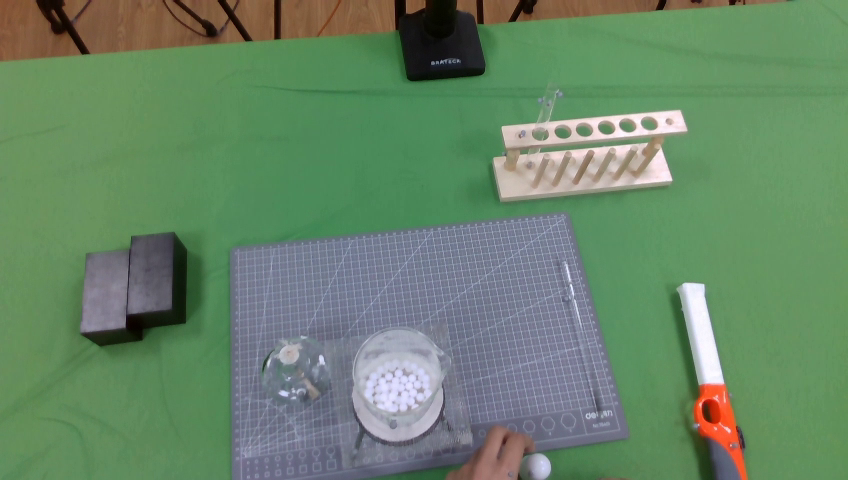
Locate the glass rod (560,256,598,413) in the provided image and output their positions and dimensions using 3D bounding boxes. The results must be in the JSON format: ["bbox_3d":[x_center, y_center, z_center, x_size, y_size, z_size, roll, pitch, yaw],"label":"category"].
[{"bbox_3d":[0.191,0.113,0.750,0.008,0.008,0.198,-5,69,-6],"label":"glass rod"}]

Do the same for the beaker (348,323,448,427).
[{"bbox_3d":[-0.022,0.123,0.538,0.084,0.101,0.073,-11,65,-8],"label":"beaker"}]

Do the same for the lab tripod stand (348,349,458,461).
[{"bbox_3d":[-0.031,0.172,0.641,0.148,0.132,0.147,1,65,-1],"label":"lab tripod stand"}]

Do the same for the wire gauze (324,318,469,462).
[{"bbox_3d":[-0.029,0.141,0.583,0.125,0.011,0.120,-10,64,-5],"label":"wire gauze"}]

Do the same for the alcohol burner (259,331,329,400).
[{"bbox_3d":[-0.144,0.133,0.664,0.078,0.120,0.077,1,63,-2],"label":"alcohol burner"}]

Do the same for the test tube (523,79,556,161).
[{"bbox_3d":[0.145,-0.148,0.773,0.017,0.151,0.017,1,62,-1],"label":"test tube"}]

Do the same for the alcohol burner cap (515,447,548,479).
[{"bbox_3d":[0.121,0.246,0.671,0.034,0.048,0.033,1,64,-2],"label":"alcohol burner cap"}]

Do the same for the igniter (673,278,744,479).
[{"bbox_3d":[0.339,0.177,0.722,0.057,0.025,0.274,5,65,-12],"label":"igniter"}]

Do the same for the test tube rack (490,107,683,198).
[{"bbox_3d":[0.218,-0.118,0.818,0.243,0.086,0.066,-6,65,-6],"label":"test tube rack"}]
